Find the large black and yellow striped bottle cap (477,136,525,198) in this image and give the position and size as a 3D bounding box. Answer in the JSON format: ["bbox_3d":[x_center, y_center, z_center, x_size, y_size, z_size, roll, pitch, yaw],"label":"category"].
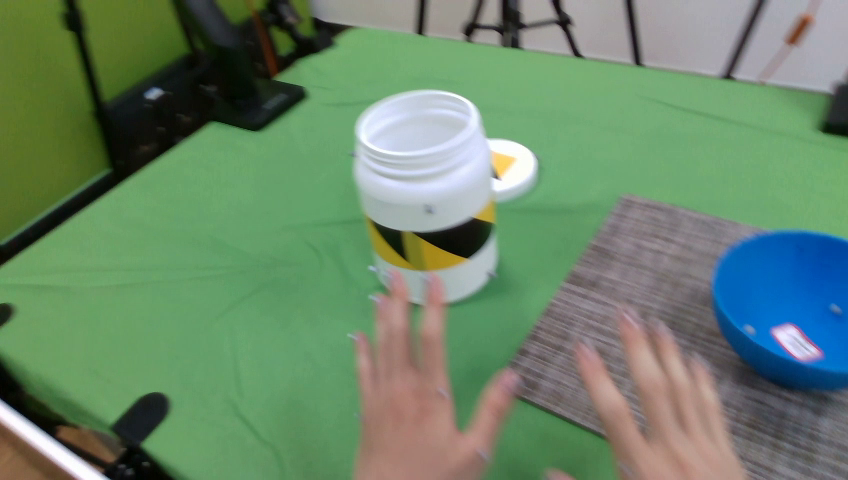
[{"bbox_3d":[0.070,-0.094,0.762,0.115,0.019,0.114,-4,43,4],"label":"large black and yellow striped bottle cap"}]

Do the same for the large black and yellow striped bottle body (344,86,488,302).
[{"bbox_3d":[-0.005,-0.043,0.595,0.131,0.186,0.129,-5,43,5],"label":"large black and yellow striped bottle body"}]

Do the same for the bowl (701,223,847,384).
[{"bbox_3d":[0.302,0.064,0.496,0.151,0.077,0.150,-5,43,5],"label":"bowl"}]
